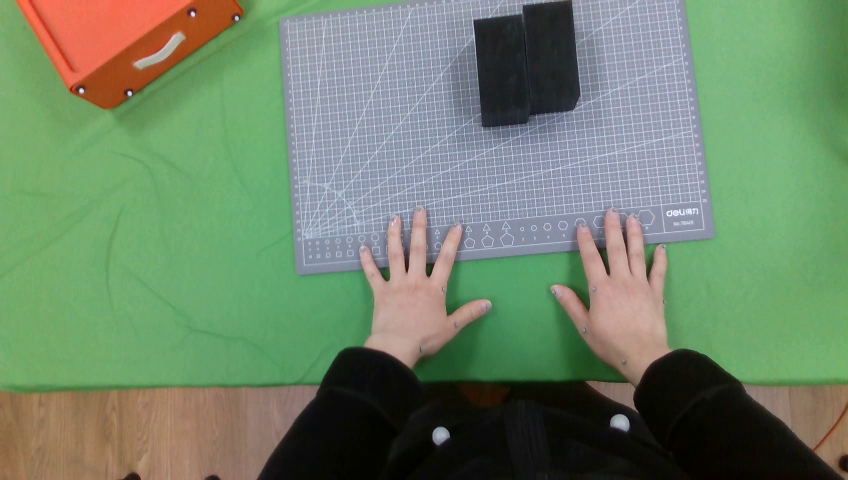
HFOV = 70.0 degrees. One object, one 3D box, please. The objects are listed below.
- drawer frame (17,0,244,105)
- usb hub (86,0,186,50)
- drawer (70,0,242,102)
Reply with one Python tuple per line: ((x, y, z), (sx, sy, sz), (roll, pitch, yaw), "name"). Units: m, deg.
((-0.348, -0.298, 0.680), (0.201, 0.083, 0.213), (-35, 82, 2), "drawer frame")
((-0.320, -0.275, 0.692), (0.125, 0.025, 0.049), (-34, 85, 3), "usb hub")
((-0.346, -0.297, 0.681), (0.194, 0.073, 0.211), (-34, 83, 3), "drawer")
